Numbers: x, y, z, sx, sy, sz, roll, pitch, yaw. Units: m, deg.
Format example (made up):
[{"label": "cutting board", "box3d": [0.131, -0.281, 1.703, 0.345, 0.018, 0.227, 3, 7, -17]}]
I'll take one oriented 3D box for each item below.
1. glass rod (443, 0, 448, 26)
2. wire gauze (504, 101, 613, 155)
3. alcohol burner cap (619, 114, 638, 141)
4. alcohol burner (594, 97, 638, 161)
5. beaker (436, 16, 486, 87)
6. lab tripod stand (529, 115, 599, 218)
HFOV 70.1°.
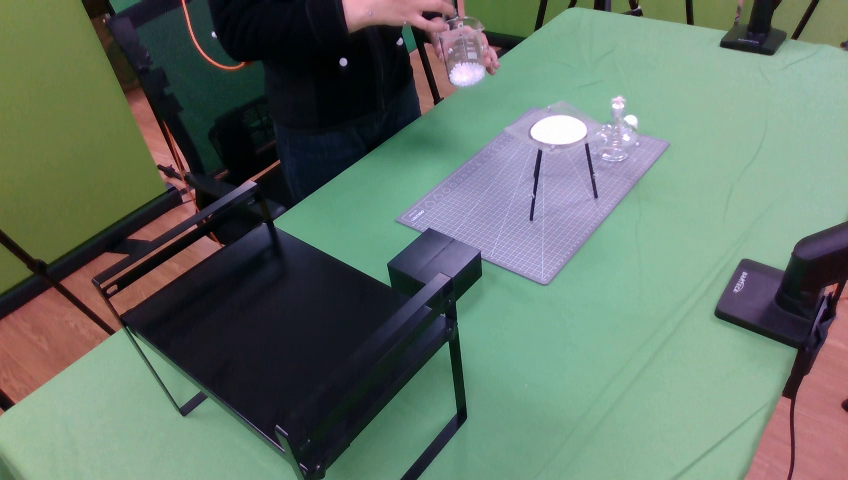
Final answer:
[{"label": "glass rod", "box3d": [0.035, -0.418, 0.949, 0.008, 0.200, 0.008, 0, 60, 0]}, {"label": "wire gauze", "box3d": [0.211, -0.176, 0.955, 0.125, 0.011, 0.120, -24, 44, -18]}, {"label": "alcohol burner cap", "box3d": [0.389, -0.215, 1.145, 0.034, 0.048, 0.033, -4, 40, 4]}, {"label": "alcohol burner", "box3d": [0.345, -0.203, 1.083, 0.078, 0.119, 0.077, -5, 42, 5]}, {"label": "beaker", "box3d": [0.072, -0.330, 1.064, 0.083, 0.101, 0.074, 1, 47, 18]}, {"label": "lab tripod stand", "box3d": [0.217, -0.123, 0.995, 0.148, 0.132, 0.147, -4, 43, 4]}]
